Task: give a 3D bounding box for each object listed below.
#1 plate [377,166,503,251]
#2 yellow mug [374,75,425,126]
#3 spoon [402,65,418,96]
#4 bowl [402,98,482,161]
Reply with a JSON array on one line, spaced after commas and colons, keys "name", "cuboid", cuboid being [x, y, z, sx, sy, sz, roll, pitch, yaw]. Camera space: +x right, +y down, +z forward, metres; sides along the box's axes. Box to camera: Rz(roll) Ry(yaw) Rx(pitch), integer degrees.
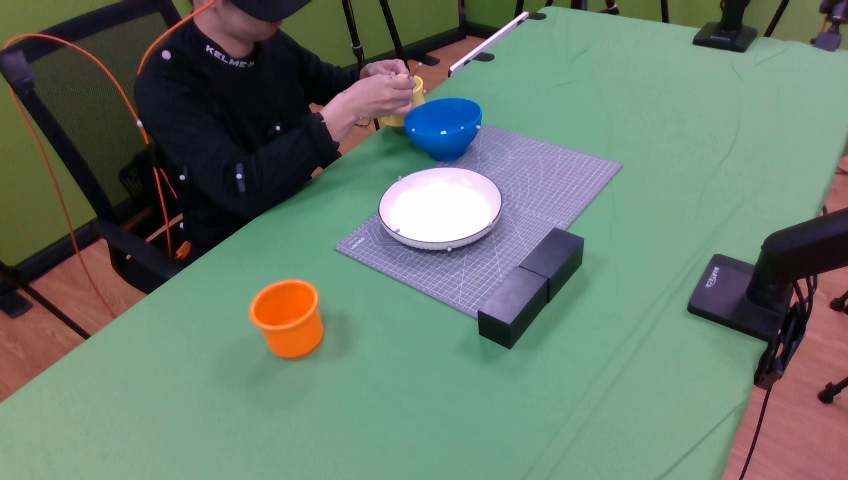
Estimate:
[{"name": "plate", "cuboid": [0.027, -0.050, 1.007, 0.209, 0.038, 0.208, -4, 41, 4]}, {"name": "yellow mug", "cuboid": [-0.050, -0.293, 1.238, 0.100, 0.064, 0.130, -15, 40, -4]}, {"name": "spoon", "cuboid": [-0.034, -0.290, 1.162, 0.042, 0.193, 0.021, -32, 84, -14]}, {"name": "bowl", "cuboid": [0.040, -0.203, 1.154, 0.151, 0.077, 0.150, -7, 38, 6]}]
